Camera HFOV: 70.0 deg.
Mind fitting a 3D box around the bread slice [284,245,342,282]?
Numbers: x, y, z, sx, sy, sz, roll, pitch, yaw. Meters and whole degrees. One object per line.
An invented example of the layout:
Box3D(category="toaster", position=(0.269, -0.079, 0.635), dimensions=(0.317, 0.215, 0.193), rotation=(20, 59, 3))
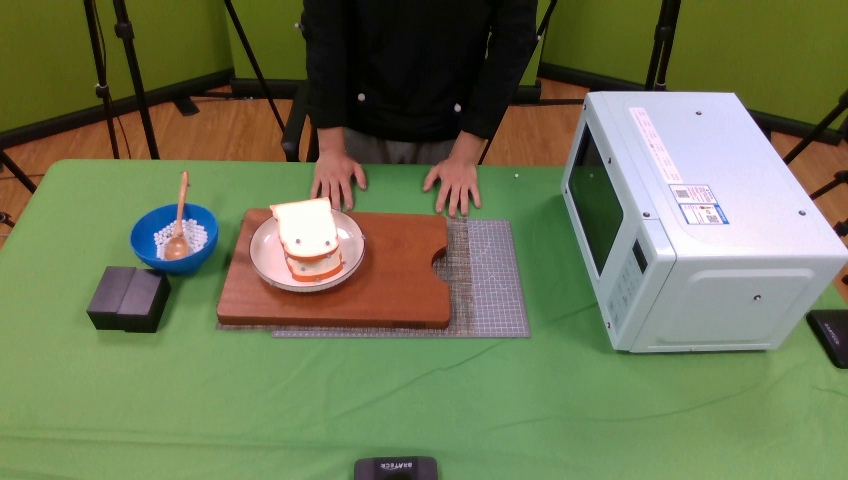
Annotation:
Box3D(category="bread slice", position=(-0.205, 0.024, 1.115), dimensions=(0.105, 0.019, 0.130), rotation=(-13, 46, -14))

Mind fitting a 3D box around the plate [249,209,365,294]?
Box3D(category="plate", position=(-0.213, 0.021, 1.113), dimensions=(0.208, 0.039, 0.206), rotation=(3, 45, -3))

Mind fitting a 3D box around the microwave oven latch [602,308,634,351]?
Box3D(category="microwave oven latch", position=(0.332, 0.153, 1.044), dimensions=(0.030, 0.029, 0.078), rotation=(-1, 45, -4))

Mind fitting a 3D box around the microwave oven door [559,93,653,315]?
Box3D(category="microwave oven door", position=(0.327, -0.074, 1.123), dimensions=(0.039, 0.245, 0.353), rotation=(-1, 46, -5))

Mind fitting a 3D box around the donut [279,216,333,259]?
Box3D(category="donut", position=(-0.213, -0.005, 1.097), dimensions=(0.099, 0.048, 0.098), rotation=(-2, 41, 2))

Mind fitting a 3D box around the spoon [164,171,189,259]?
Box3D(category="spoon", position=(-0.452, -0.046, 1.129), dimensions=(0.041, 0.022, 0.193), rotation=(-1, 69, -3))

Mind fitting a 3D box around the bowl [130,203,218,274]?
Box3D(category="bowl", position=(-0.450, 0.010, 1.116), dimensions=(0.151, 0.077, 0.150), rotation=(3, 45, -2))

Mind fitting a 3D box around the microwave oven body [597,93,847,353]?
Box3D(category="microwave oven body", position=(0.475, -0.041, 1.110), dimensions=(0.326, 0.261, 0.438), rotation=(-1, 45, -4))

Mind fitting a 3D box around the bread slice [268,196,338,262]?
Box3D(category="bread slice", position=(-0.207, -0.020, 1.071), dimensions=(0.107, 0.018, 0.133), rotation=(-14, 55, -18))
